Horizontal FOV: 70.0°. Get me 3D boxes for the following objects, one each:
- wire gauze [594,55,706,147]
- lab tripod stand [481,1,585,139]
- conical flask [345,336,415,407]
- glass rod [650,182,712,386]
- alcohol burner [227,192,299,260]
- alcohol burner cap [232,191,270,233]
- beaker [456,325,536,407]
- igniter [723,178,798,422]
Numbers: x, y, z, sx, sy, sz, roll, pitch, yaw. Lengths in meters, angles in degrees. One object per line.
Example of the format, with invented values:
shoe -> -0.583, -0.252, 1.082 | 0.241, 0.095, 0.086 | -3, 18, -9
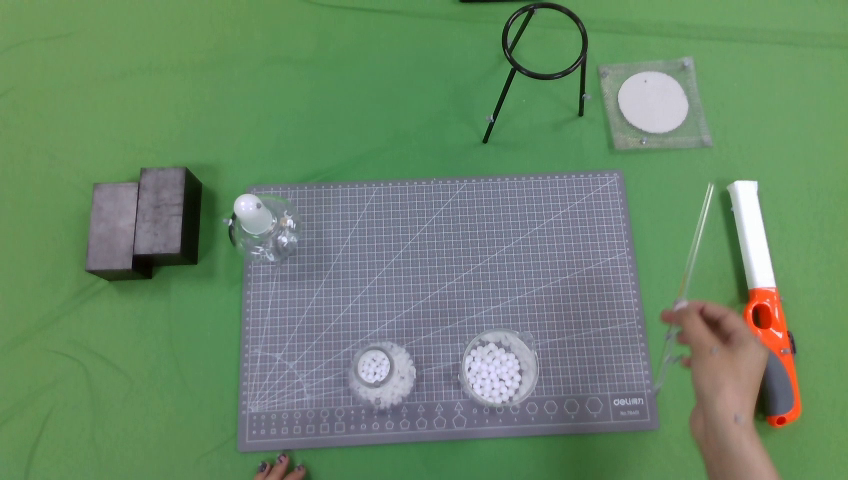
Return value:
wire gauze -> 0.281, -0.172, 0.754 | 0.125, 0.011, 0.121 | -4, 75, -4
lab tripod stand -> 0.121, -0.190, 0.692 | 0.148, 0.132, 0.147 | 0, 76, -1
conical flask -> -0.048, 0.128, 0.607 | 0.075, 0.122, 0.075 | 0, 74, 0
glass rod -> 0.242, 0.041, 0.569 | 0.008, 0.008, 0.199 | 17, 88, 4
alcohol burner -> -0.177, -0.020, 0.649 | 0.078, 0.119, 0.077 | 0, 75, 2
alcohol burner cap -> -0.178, -0.031, 0.615 | 0.034, 0.048, 0.033 | 1, 66, -2
beaker -> 0.072, 0.129, 0.620 | 0.073, 0.101, 0.084 | 44, 78, 10
igniter -> 0.377, 0.062, 0.682 | 0.057, 0.025, 0.275 | 1, 74, -12
